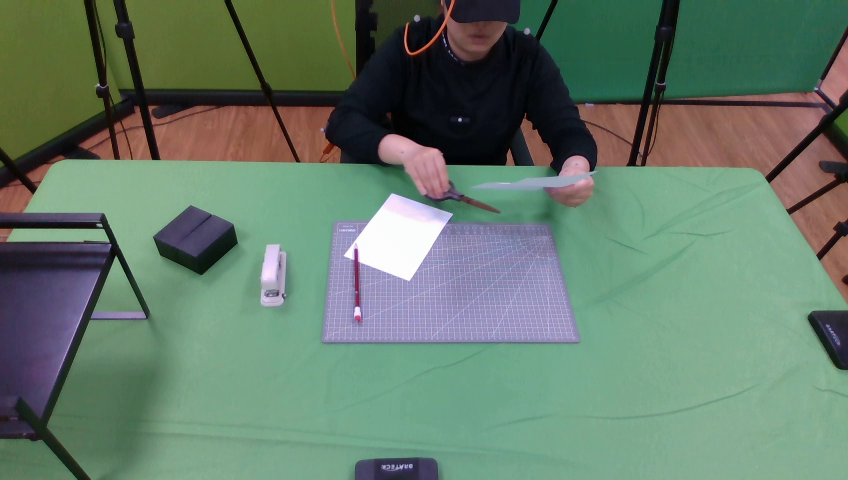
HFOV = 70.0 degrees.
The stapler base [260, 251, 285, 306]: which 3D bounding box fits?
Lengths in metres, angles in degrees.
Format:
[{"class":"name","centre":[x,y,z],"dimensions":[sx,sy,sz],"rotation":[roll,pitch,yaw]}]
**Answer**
[{"class":"stapler base","centre":[-0.279,0.064,1.113],"dimensions":[0.041,0.024,0.129],"rotation":[-2,44,-9]}]

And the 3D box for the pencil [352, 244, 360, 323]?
[{"class":"pencil","centre":[-0.127,0.075,1.120],"dimensions":[0.012,0.012,0.192],"rotation":[-3,44,-7]}]

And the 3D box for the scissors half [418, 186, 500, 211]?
[{"class":"scissors half","centre":[0.069,-0.079,1.232],"dimensions":[0.175,0.013,0.040],"rotation":[13,46,10]}]

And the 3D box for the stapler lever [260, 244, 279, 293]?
[{"class":"stapler lever","centre":[-0.279,0.045,1.096],"dimensions":[0.027,0.040,0.117],"rotation":[-2,44,-9]}]

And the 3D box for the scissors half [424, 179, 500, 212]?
[{"class":"scissors half","centre":[0.078,-0.091,1.246],"dimensions":[0.174,0.013,0.040],"rotation":[26,44,23]}]
